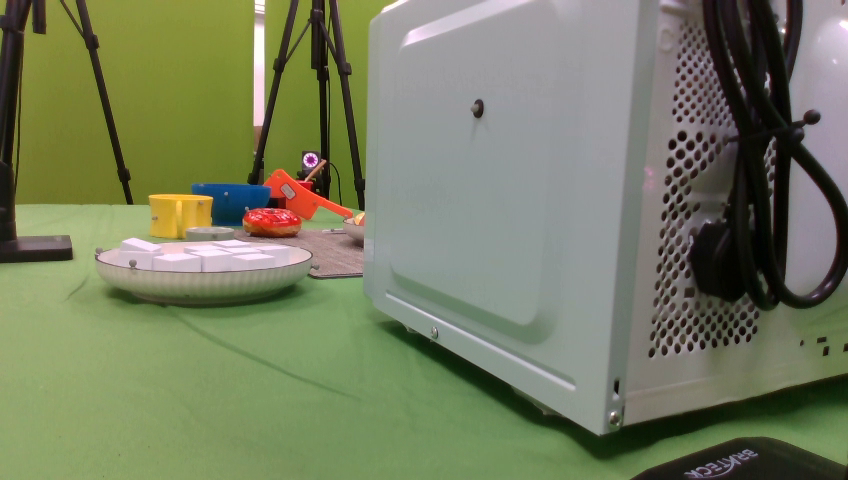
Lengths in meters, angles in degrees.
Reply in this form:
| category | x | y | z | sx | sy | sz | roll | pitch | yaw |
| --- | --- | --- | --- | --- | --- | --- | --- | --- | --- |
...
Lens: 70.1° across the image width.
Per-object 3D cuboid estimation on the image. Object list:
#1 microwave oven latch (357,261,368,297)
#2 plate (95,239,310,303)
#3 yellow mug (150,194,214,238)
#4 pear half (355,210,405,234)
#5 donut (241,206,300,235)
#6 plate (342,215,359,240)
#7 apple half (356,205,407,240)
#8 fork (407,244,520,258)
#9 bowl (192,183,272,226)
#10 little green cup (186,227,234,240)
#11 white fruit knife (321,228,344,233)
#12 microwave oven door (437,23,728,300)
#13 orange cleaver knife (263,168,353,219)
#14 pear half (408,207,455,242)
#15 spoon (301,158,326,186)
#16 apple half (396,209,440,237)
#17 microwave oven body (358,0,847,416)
| category | x | y | z | sx | sy | sz | roll | pitch | yaw |
| --- | --- | --- | --- | --- | --- | --- | --- | --- | --- |
| microwave oven latch | -0.019 | 0.033 | 0.531 | 0.079 | 0.029 | 0.030 | -1 | 7 | -27 |
| plate | -0.224 | 0.031 | 0.629 | 0.208 | 0.039 | 0.207 | 2 | 7 | 0 |
| yellow mug | -0.401 | -0.040 | 1.003 | 0.100 | 0.064 | 0.130 | -1 | 9 | -20 |
| pear half | -0.075 | -0.035 | 1.045 | 0.088 | 0.031 | 0.070 | 4 | 27 | -8 |
| donut | -0.263 | -0.032 | 1.039 | 0.099 | 0.048 | 0.099 | 4 | 9 | 0 |
| plate | -0.033 | -0.014 | 1.005 | 0.209 | 0.038 | 0.209 | 2 | 7 | 0 |
| apple half | -0.065 | -0.029 | 0.969 | 0.081 | 0.053 | 0.074 | 3 | 8 | -26 |
| fork | 0.064 | 0.016 | 0.894 | 0.208 | 0.018 | 0.028 | -3 | 4 | -35 |
| bowl | -0.381 | -0.070 | 1.202 | 0.151 | 0.077 | 0.151 | 3 | 7 | 0 |
| little green cup | -0.285 | 0.005 | 0.805 | 0.061 | 0.038 | 0.061 | 2 | 8 | 0 |
| white fruit knife | -0.097 | -0.022 | 1.142 | 0.208 | 0.016 | 0.027 | -4 | -21 | -32 |
| microwave oven door | 0.180 | -0.072 | 0.621 | 0.358 | 0.243 | 0.039 | -2 | 9 | -29 |
| orange cleaver knife | -0.262 | -0.088 | 1.352 | 0.211 | 0.077 | 0.012 | 28 | 13 | 0 |
| pear half | 0.018 | -0.026 | 0.999 | 0.076 | 0.056 | 0.110 | 9 | 6 | 19 |
| spoon | -0.320 | -0.161 | 1.646 | 0.041 | 0.022 | 0.194 | 8 | 53 | 33 |
| apple half | -0.008 | -0.036 | 1.052 | 0.081 | 0.033 | 0.081 | 13 | 26 | -6 |
| microwave oven body | 0.211 | -0.047 | 0.475 | 0.444 | 0.260 | 0.324 | -1 | 7 | -28 |
